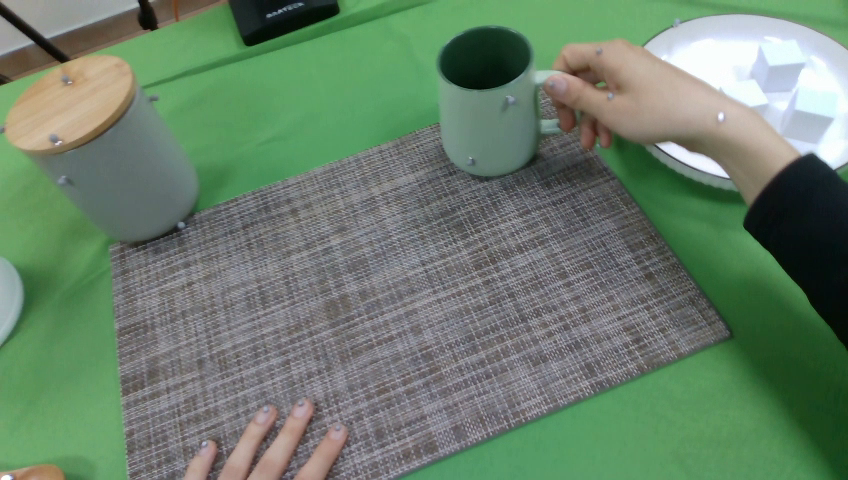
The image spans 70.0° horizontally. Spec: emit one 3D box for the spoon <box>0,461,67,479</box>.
[{"bbox_3d":[-0.346,0.175,0.457,0.193,0.022,0.041,7,77,13],"label":"spoon"}]

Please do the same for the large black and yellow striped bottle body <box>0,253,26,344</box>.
[{"bbox_3d":[-0.433,0.022,0.473,0.130,0.186,0.129,-4,57,7],"label":"large black and yellow striped bottle body"}]

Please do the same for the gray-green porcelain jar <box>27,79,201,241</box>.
[{"bbox_3d":[-0.269,-0.069,0.539,0.106,0.128,0.105,-5,53,7],"label":"gray-green porcelain jar"}]

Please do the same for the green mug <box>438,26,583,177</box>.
[{"bbox_3d":[0.073,-0.117,0.525,0.125,0.106,0.092,4,58,11],"label":"green mug"}]

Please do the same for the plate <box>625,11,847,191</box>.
[{"bbox_3d":[0.285,-0.123,0.540,0.207,0.039,0.205,-4,57,7],"label":"plate"}]

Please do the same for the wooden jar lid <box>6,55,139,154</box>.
[{"bbox_3d":[-0.279,-0.107,0.489,0.108,0.021,0.107,-6,56,9],"label":"wooden jar lid"}]
